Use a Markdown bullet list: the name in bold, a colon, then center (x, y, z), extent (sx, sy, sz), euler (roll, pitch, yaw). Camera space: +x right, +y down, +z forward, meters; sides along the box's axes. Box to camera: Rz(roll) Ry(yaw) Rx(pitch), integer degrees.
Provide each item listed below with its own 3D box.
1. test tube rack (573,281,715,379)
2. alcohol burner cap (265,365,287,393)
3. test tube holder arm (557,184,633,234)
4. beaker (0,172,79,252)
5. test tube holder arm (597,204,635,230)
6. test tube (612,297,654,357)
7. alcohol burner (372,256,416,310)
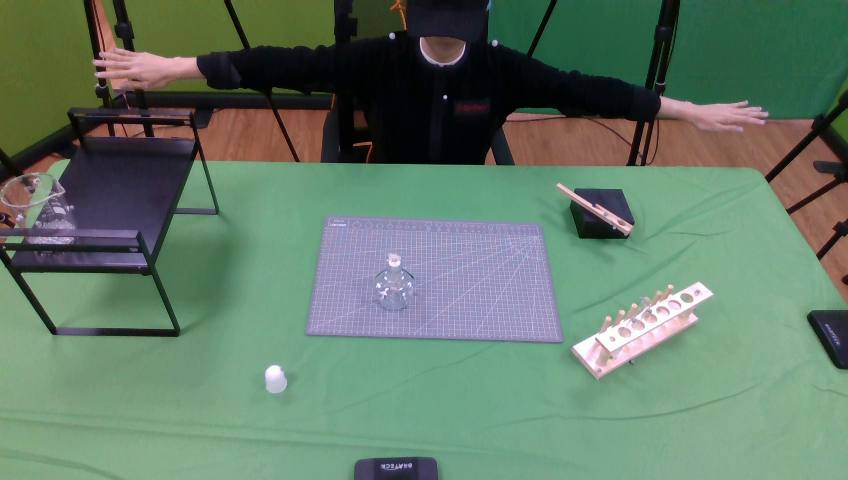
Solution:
- **test tube rack**: center (0.378, 0.140, 1.038), extent (0.242, 0.085, 0.066), euler (-22, 51, -23)
- **alcohol burner cap**: center (-0.236, 0.216, 0.956), extent (0.034, 0.048, 0.033), euler (3, 45, -3)
- **test tube holder arm**: center (0.340, -0.064, 1.215), extent (0.177, 0.015, 0.013), euler (35, 62, 29)
- **beaker**: center (-0.557, -0.038, 0.889), extent (0.084, 0.101, 0.073), euler (-3, 47, -8)
- **test tube holder arm**: center (0.376, -0.044, 1.195), extent (0.010, 0.015, 0.087), euler (-39, 58, -24)
- **test tube**: center (0.329, 0.142, 0.964), extent (0.017, 0.151, 0.017), euler (5, 46, -5)
- **alcohol burner**: center (-0.052, 0.068, 1.057), extent (0.078, 0.120, 0.077), euler (1, 48, -1)
